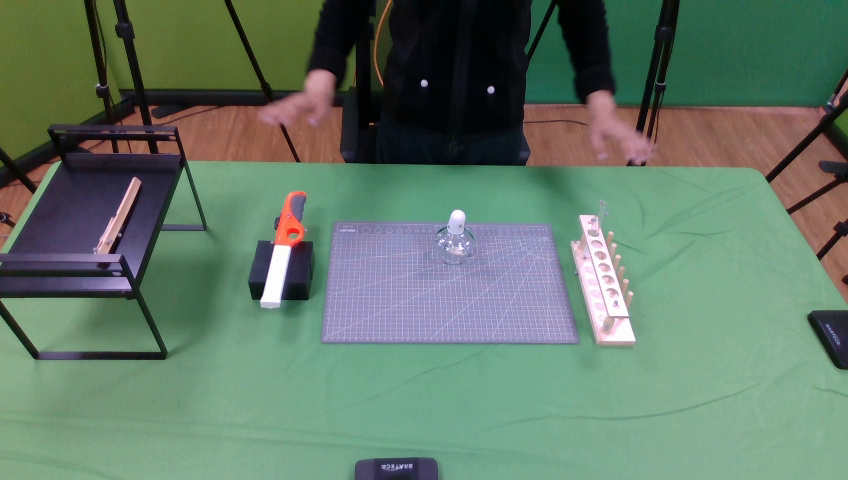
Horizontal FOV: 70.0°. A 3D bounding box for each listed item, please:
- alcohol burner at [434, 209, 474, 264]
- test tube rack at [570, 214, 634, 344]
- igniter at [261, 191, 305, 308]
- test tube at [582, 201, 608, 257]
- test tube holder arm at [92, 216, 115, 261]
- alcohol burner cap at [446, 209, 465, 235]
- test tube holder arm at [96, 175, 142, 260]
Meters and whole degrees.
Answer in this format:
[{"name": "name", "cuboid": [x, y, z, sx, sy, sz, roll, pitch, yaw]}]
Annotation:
[{"name": "alcohol burner", "cuboid": [0.058, -0.012, 1.147, 0.078, 0.119, 0.077, 3, 44, -2]}, {"name": "test tube rack", "cuboid": [0.333, 0.067, 1.116, 0.067, 0.085, 0.241, 1, 46, -4]}, {"name": "igniter", "cuboid": [-0.255, 0.007, 1.104, 0.057, 0.025, 0.275, 5, 47, -4]}, {"name": "test tube", "cuboid": [0.316, -0.017, 1.127, 0.017, 0.151, 0.017, 1, 51, -1]}, {"name": "test tube holder arm", "cuboid": [-0.479, -0.004, 0.917, 0.010, 0.015, 0.087, -18, 43, 20]}, {"name": "alcohol burner cap", "cuboid": [0.060, -0.036, 1.120, 0.034, 0.048, 0.033, 4, 50, -5]}, {"name": "test tube holder arm", "cuboid": [-0.474, -0.039, 0.946, 0.013, 0.015, 0.177, -19, 43, 19]}]
